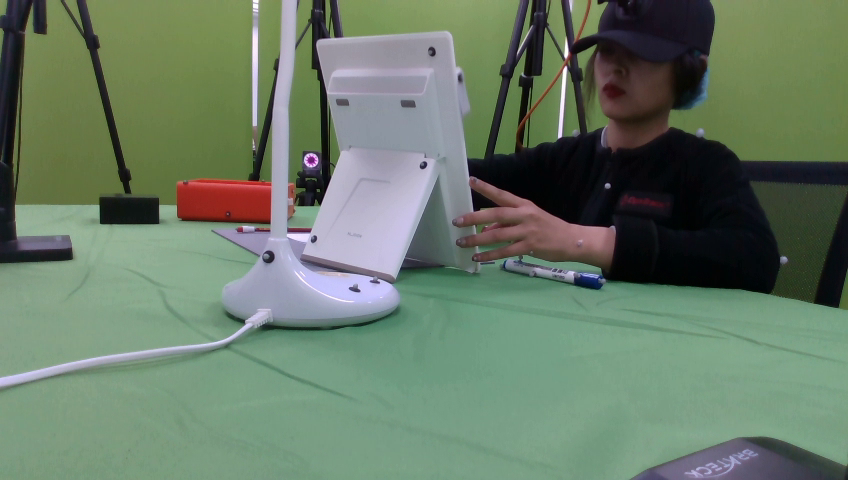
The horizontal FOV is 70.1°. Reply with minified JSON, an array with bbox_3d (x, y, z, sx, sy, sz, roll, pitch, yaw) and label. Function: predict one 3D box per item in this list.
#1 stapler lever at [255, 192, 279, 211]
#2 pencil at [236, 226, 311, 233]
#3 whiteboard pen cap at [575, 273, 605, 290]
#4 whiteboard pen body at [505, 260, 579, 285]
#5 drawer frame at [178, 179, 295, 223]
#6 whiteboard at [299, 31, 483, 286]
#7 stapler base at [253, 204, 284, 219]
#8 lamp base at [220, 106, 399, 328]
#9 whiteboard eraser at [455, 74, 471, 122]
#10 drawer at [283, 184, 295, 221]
[{"bbox_3d":[-0.337,-0.088,1.305,0.027,0.040,0.118,1,11,-1],"label":"stapler lever"},{"bbox_3d":[-0.239,-0.017,1.093,0.195,0.012,0.012,1,7,-27],"label":"pencil"},{"bbox_3d":[0.197,0.048,0.719,0.018,0.018,0.033,-4,11,-41],"label":"whiteboard pen cap"},{"bbox_3d":[0.157,0.042,0.763,0.017,0.017,0.140,-4,10,-41],"label":"whiteboard pen body"},{"bbox_3d":[-0.397,-0.088,1.315,0.214,0.082,0.201,1,8,-7],"label":"drawer frame"},{"bbox_3d":[-0.073,-0.081,0.738,0.216,0.305,0.144,11,32,38],"label":"whiteboard"},{"bbox_3d":[-0.337,-0.065,1.308,0.041,0.024,0.130,1,9,-1],"label":"stapler base"},{"bbox_3d":[-0.101,-0.023,0.531,0.160,0.180,0.179,4,10,10],"label":"lamp base"},{"bbox_3d":[0.001,-0.171,0.744,0.112,0.055,0.042,6,28,39],"label":"whiteboard eraser"},{"bbox_3d":[-0.394,-0.087,1.317,0.212,0.073,0.194,1,9,-7],"label":"drawer"}]
